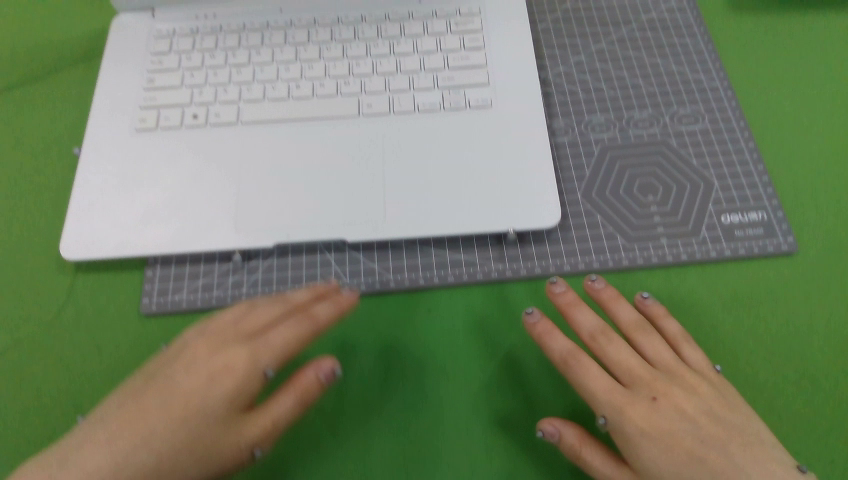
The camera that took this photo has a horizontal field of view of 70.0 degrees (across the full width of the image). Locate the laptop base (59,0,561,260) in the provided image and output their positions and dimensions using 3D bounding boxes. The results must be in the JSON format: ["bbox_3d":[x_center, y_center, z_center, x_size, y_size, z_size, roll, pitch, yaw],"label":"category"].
[{"bbox_3d":[-0.086,-0.098,0.475,0.354,0.023,0.233,-4,65,0],"label":"laptop base"}]

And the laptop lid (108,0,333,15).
[{"bbox_3d":[-0.097,-0.275,0.435,0.357,0.244,0.013,-5,52,1],"label":"laptop lid"}]
